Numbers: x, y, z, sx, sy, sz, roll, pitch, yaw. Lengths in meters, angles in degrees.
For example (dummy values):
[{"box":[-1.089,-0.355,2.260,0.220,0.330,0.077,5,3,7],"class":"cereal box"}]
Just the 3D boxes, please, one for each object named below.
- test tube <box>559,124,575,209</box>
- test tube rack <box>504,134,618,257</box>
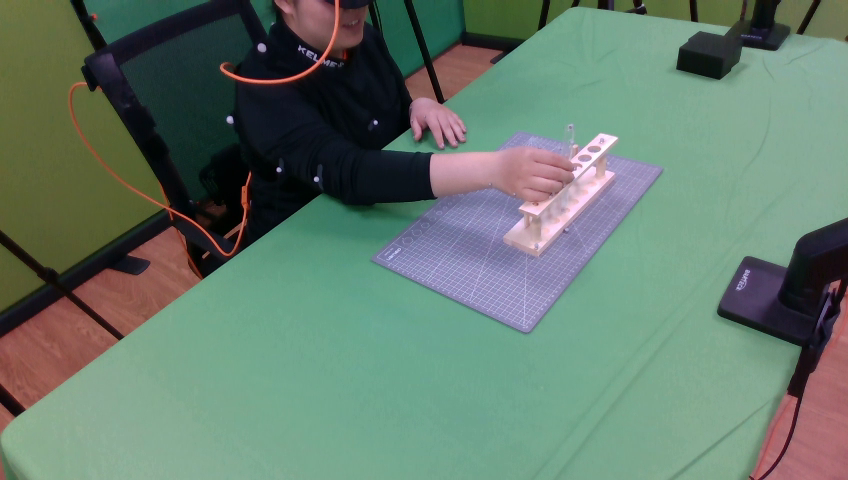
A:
[{"box":[0.220,-0.109,0.932,0.017,0.151,0.017,-4,39,4],"class":"test tube"},{"box":[0.225,-0.083,0.984,0.066,0.085,0.243,25,51,34],"class":"test tube rack"}]
